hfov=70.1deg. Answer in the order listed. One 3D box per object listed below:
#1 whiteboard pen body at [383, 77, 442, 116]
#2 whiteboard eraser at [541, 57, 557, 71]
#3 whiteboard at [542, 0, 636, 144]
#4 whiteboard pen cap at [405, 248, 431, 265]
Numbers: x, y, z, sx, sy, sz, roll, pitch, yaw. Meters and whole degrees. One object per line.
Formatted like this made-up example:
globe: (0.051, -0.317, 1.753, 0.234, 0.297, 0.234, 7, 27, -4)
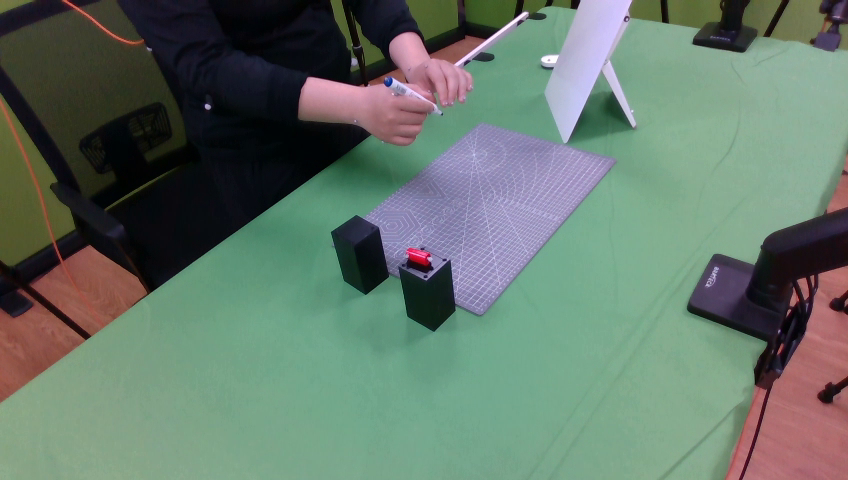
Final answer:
whiteboard pen body: (-0.013, -0.216, 0.929, 0.016, 0.142, 0.017, -10, 72, 36)
whiteboard eraser: (0.323, -0.412, 1.407, 0.101, 0.019, 0.041, 1, 42, 11)
whiteboard: (0.366, -0.351, 1.160, 0.144, 0.305, 0.216, 10, 39, -10)
whiteboard pen cap: (-0.008, 0.021, 0.794, 0.032, 0.017, 0.017, 17, 46, 28)
